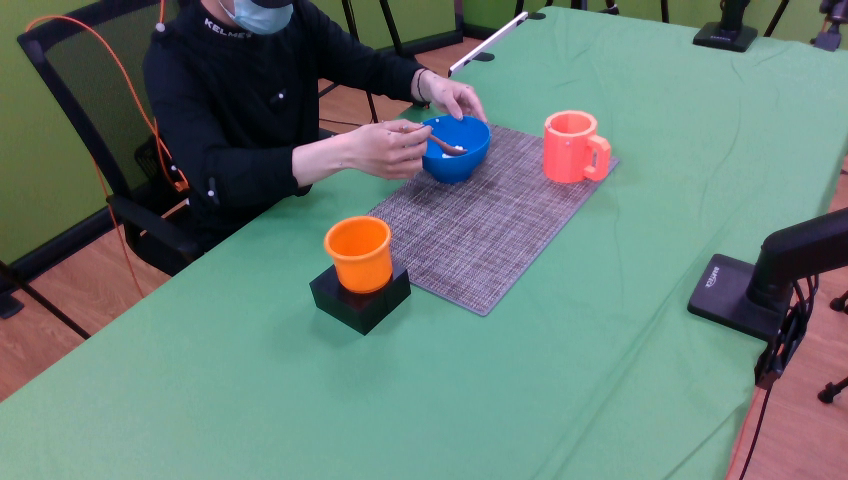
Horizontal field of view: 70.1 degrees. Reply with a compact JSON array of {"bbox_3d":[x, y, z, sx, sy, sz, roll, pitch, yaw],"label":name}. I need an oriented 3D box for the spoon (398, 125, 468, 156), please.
[{"bbox_3d":[0.015,-0.168,1.014,0.041,0.195,0.021,8,86,35],"label":"spoon"}]

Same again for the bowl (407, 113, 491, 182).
[{"bbox_3d":[0.047,-0.157,1.097,0.151,0.077,0.150,-4,41,4],"label":"bowl"}]

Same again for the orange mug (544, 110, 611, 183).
[{"bbox_3d":[0.266,-0.157,1.049,0.084,0.101,0.125,-33,42,-26],"label":"orange mug"}]
